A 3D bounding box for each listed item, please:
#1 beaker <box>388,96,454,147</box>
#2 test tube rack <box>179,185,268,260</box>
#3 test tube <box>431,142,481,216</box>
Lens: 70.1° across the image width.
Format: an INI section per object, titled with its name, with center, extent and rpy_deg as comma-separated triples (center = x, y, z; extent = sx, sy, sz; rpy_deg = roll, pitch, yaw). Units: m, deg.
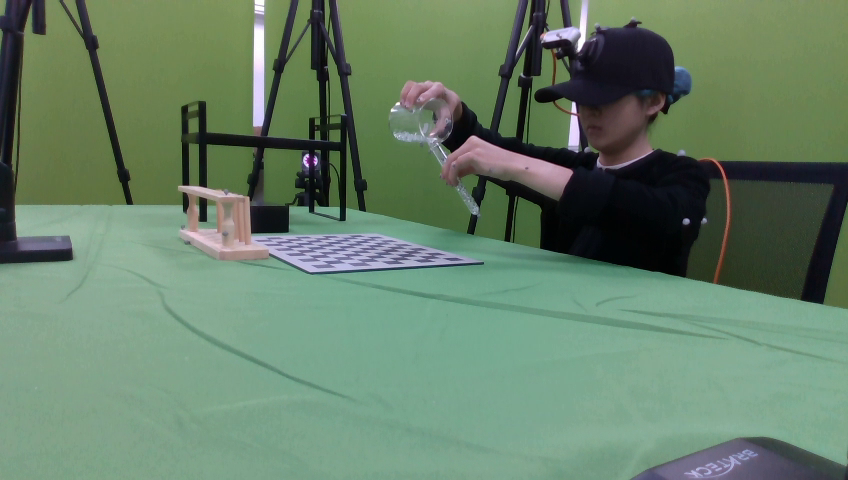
[beaker]
center = -0.009, -0.201, 1.036
extent = 0.074, 0.084, 0.100
rpy_deg = 0, 7, -38
[test tube rack]
center = -0.303, -0.031, 0.898
extent = 0.067, 0.085, 0.241
rpy_deg = -2, 9, -33
[test tube]
center = 0.051, -0.099, 0.974
extent = 0.017, 0.149, 0.017
rpy_deg = -25, -24, -12
